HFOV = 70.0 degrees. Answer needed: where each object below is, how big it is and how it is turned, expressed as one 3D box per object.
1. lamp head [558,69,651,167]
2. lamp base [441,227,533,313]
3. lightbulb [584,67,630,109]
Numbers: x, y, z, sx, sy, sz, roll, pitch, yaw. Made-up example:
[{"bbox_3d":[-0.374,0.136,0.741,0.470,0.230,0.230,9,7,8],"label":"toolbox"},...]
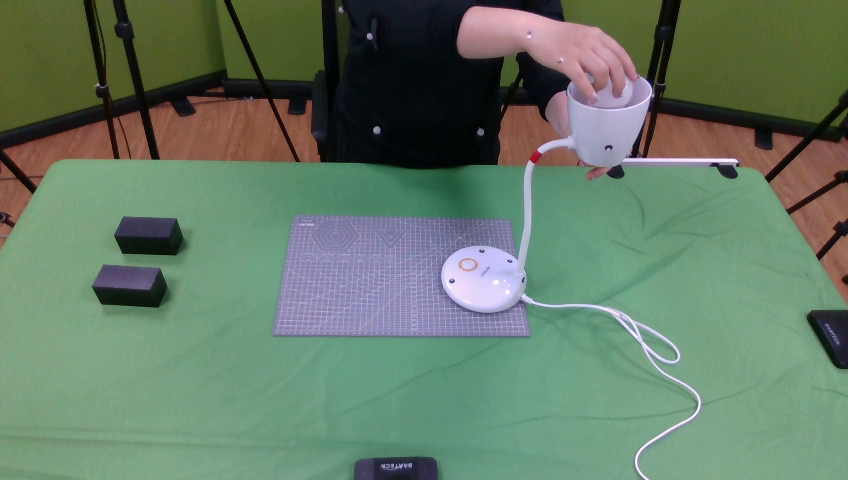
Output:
[{"bbox_3d":[0.251,-0.164,0.860,0.112,0.123,0.111,0,42,0],"label":"lamp head"},{"bbox_3d":[0.126,0.022,1.071,0.179,0.181,0.160,23,49,14],"label":"lamp base"},{"bbox_3d":[0.252,-0.188,0.847,0.059,0.108,0.059,-2,44,2],"label":"lightbulb"}]
